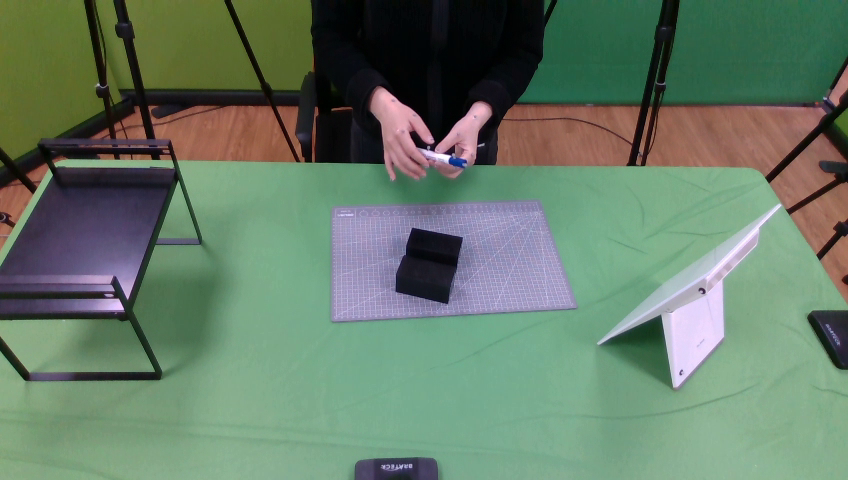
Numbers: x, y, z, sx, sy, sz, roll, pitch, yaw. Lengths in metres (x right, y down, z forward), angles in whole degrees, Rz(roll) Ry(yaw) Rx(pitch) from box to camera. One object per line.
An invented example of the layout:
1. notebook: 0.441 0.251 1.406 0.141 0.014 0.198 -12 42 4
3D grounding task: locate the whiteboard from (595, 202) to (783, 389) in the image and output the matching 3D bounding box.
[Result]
1. whiteboard: 0.459 0.112 0.968 0.217 0.306 0.143 -31 74 -29

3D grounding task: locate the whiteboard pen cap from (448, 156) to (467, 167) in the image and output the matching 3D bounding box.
1. whiteboard pen cap: 0.057 -0.136 1.056 0.033 0.018 0.018 20 45 42

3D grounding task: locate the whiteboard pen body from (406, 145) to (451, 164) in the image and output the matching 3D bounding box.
1. whiteboard pen body: 0.018 -0.153 1.096 0.017 0.017 0.140 -35 38 -31
